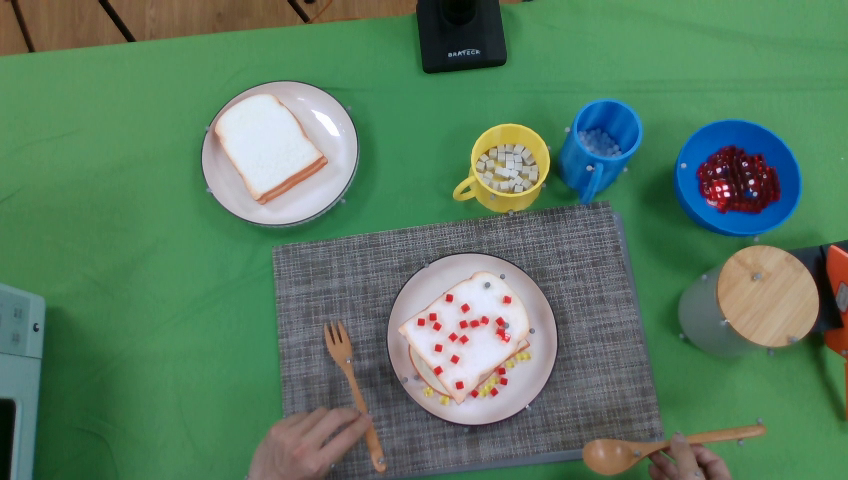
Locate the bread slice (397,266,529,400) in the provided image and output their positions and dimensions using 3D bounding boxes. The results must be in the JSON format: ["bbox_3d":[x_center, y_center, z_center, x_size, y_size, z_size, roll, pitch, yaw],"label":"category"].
[{"bbox_3d":[0.050,0.094,0.683,0.134,0.018,0.106,-41,83,-15],"label":"bread slice"}]

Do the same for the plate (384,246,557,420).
[{"bbox_3d":[0.056,0.111,0.739,0.209,0.038,0.208,0,75,1],"label":"plate"}]

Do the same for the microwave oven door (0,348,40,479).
[{"bbox_3d":[-0.473,0.277,0.584,0.039,0.245,0.353,-6,75,0],"label":"microwave oven door"}]

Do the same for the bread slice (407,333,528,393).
[{"bbox_3d":[0.047,0.122,0.740,0.131,0.019,0.104,-38,76,-11],"label":"bread slice"}]

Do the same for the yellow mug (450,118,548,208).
[{"bbox_3d":[0.092,-0.092,0.782,0.131,0.064,0.099,-27,75,-5],"label":"yellow mug"}]

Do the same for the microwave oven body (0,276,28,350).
[{"bbox_3d":[-0.622,0.251,0.599,0.326,0.261,0.439,-5,75,-1],"label":"microwave oven body"}]

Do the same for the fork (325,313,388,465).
[{"bbox_3d":[-0.079,0.166,0.702,0.028,0.019,0.205,-31,48,3],"label":"fork"}]

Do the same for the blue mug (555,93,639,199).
[{"bbox_3d":[0.213,-0.109,0.765,0.082,0.106,0.116,13,76,5],"label":"blue mug"}]

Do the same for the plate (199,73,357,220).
[{"bbox_3d":[-0.192,-0.122,0.810,0.208,0.039,0.206,0,75,1],"label":"plate"}]

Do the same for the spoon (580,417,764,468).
[{"bbox_3d":[0.264,0.211,0.647,0.193,0.022,0.041,-14,41,9],"label":"spoon"}]

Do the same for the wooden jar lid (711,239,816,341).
[{"bbox_3d":[0.357,0.053,0.642,0.108,0.021,0.108,0,77,-1],"label":"wooden jar lid"}]

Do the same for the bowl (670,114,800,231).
[{"bbox_3d":[0.377,-0.075,0.766,0.151,0.077,0.150,0,75,1],"label":"bowl"}]

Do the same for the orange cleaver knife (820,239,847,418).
[{"bbox_3d":[0.492,0.105,0.713,0.012,0.077,0.212,-8,101,0],"label":"orange cleaver knife"}]

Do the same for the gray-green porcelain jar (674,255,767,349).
[{"bbox_3d":[0.359,0.071,0.703,0.106,0.127,0.105,0,75,1],"label":"gray-green porcelain jar"}]

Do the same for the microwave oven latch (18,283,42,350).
[{"bbox_3d":[-0.488,0.094,0.738,0.030,0.029,0.078,-3,76,0],"label":"microwave oven latch"}]
